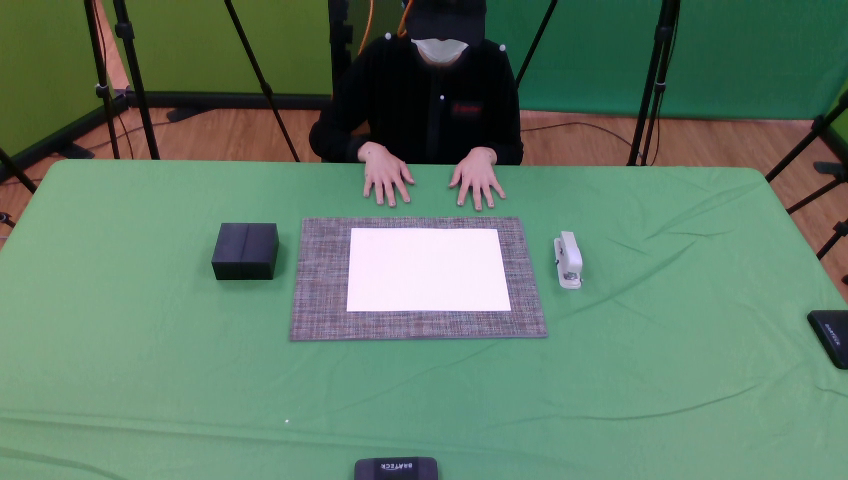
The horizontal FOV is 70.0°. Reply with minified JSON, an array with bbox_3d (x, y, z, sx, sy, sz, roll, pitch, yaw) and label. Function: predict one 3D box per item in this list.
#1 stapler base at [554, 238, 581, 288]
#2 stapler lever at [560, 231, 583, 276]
[{"bbox_3d":[0.282,0.038,1.182,0.041,0.024,0.130,5,44,-2],"label":"stapler base"},{"bbox_3d":[0.282,0.019,1.165,0.027,0.040,0.117,5,44,-2],"label":"stapler lever"}]
